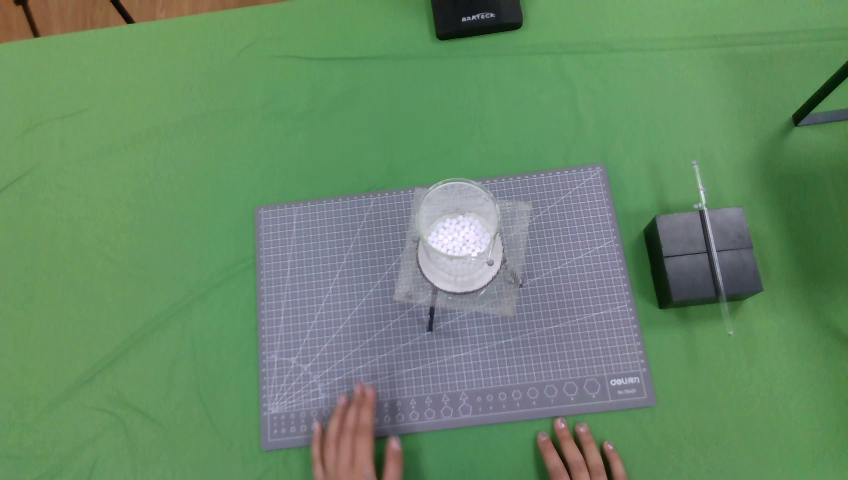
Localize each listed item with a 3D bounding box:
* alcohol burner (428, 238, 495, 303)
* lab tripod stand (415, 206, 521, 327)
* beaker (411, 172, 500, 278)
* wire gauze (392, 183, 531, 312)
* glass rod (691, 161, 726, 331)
[{"bbox_3d":[0.042,0.030,0.680,0.078,0.120,0.077,-1,74,5],"label":"alcohol burner"},{"bbox_3d":[0.037,0.023,0.672,0.148,0.132,0.147,-1,73,5],"label":"lab tripod stand"},{"bbox_3d":[0.033,-0.007,0.562,0.074,0.101,0.083,-33,74,-6],"label":"beaker"},{"bbox_3d":[0.039,0.006,0.608,0.121,0.011,0.124,10,72,5],"label":"wire gauze"},{"bbox_3d":[0.319,0.004,0.681,0.008,0.008,0.198,-3,74,2],"label":"glass rod"}]
